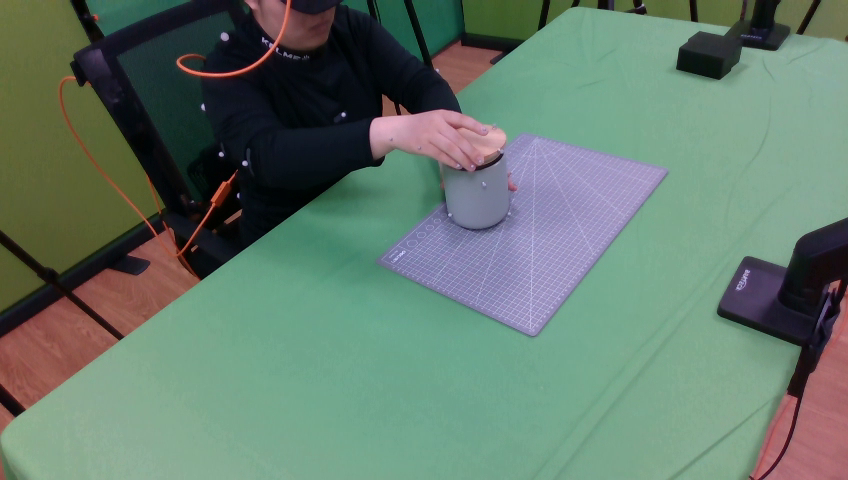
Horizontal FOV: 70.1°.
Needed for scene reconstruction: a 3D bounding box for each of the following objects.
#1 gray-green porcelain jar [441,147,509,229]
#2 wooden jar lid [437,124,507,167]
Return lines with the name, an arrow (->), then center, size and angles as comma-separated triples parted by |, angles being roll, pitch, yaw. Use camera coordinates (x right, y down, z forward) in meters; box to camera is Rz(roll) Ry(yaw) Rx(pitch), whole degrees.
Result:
gray-green porcelain jar -> 0.086, -0.090, 0.988 | 0.106, 0.127, 0.105 | -5, 40, 5
wooden jar lid -> 0.074, -0.145, 0.929 | 0.108, 0.021, 0.108 | -6, 37, 5
